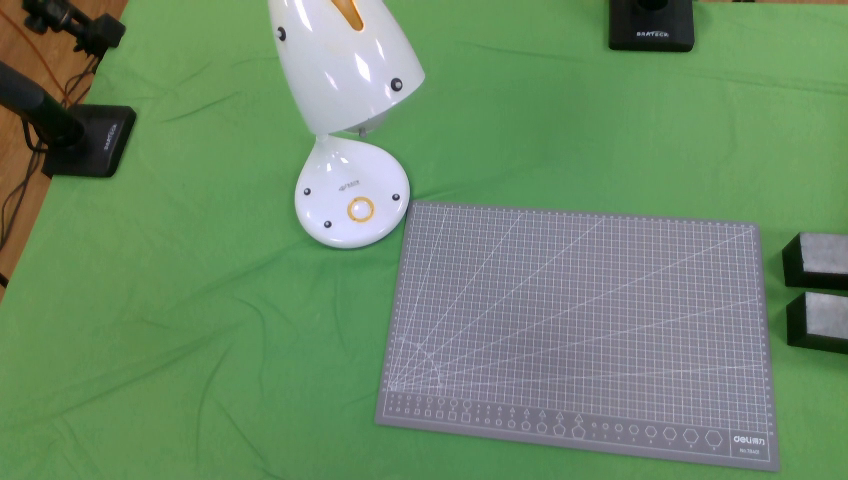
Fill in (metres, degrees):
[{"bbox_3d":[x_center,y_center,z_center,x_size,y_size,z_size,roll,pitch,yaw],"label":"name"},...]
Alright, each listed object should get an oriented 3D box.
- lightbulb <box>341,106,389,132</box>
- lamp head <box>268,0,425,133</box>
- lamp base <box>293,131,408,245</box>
[{"bbox_3d":[-0.066,-0.142,0.504,0.059,0.108,0.059,-15,27,8],"label":"lightbulb"},{"bbox_3d":[-0.074,-0.166,0.497,0.112,0.124,0.111,-24,23,11],"label":"lamp head"},{"bbox_3d":[-0.117,-0.107,0.767,0.160,0.182,0.177,-34,64,-9],"label":"lamp base"}]
